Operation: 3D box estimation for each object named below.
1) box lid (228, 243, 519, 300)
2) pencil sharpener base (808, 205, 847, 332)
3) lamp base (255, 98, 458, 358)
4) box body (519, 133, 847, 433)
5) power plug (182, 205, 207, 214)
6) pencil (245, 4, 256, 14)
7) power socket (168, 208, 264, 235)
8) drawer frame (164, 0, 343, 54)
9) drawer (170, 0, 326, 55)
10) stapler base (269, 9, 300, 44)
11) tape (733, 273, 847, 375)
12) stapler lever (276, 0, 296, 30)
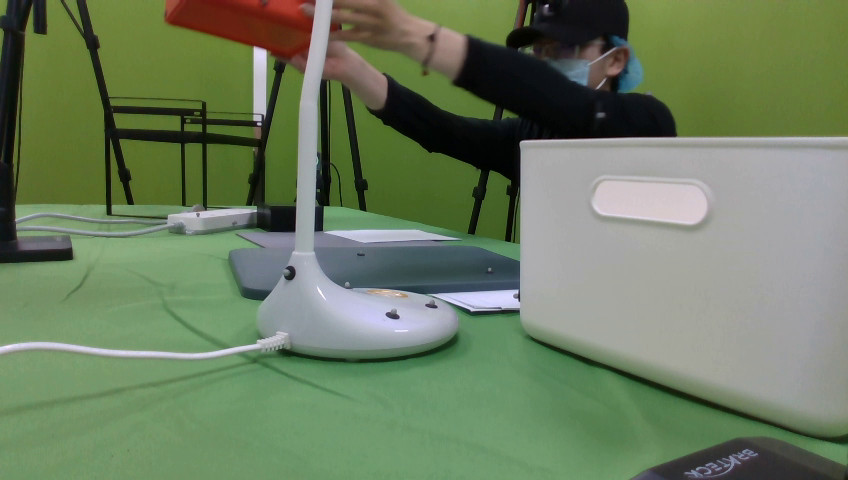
[{"bbox_3d":[-0.044,0.033,0.757,0.373,0.015,0.262,-1,9,-22],"label":"box lid"},{"bbox_3d":[0.386,0.026,0.519,0.062,0.107,0.076,-5,11,-43],"label":"pencil sharpener base"},{"bbox_3d":[-0.056,-0.013,0.462,0.160,0.180,0.180,6,11,27],"label":"lamp base"},{"bbox_3d":[0.279,0.005,0.485,0.366,0.160,0.253,-3,9,-36],"label":"box body"},{"bbox_3d":[-0.456,-0.041,1.195,0.052,0.035,0.072,1,40,24],"label":"power plug"},{"bbox_3d":[-0.238,-0.332,0.906,0.012,0.012,0.194,2,12,-2],"label":"pencil"},{"bbox_3d":[-0.381,-0.038,1.129,0.072,0.032,0.227,4,8,17],"label":"power socket"},{"bbox_3d":[-0.257,-0.356,0.908,0.215,0.082,0.200,5,2,-34],"label":"drawer frame"},{"bbox_3d":[-0.255,-0.354,0.911,0.213,0.073,0.193,5,2,-33],"label":"drawer"},{"bbox_3d":[-0.214,-0.330,0.928,0.041,0.024,0.130,4,3,-16],"label":"stapler base"},{"bbox_3d":[0.295,0.059,0.455,0.117,0.052,0.117,2,7,0],"label":"tape"},{"bbox_3d":[-0.211,-0.354,0.926,0.027,0.040,0.117,4,2,-16],"label":"stapler lever"}]
